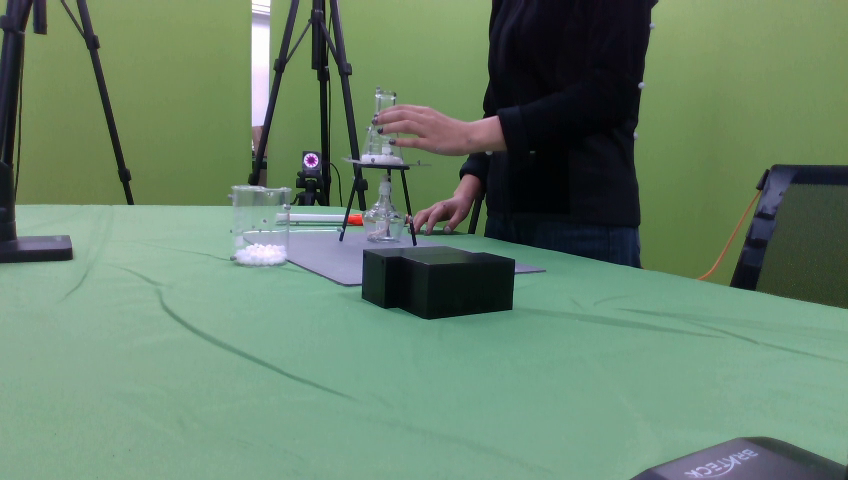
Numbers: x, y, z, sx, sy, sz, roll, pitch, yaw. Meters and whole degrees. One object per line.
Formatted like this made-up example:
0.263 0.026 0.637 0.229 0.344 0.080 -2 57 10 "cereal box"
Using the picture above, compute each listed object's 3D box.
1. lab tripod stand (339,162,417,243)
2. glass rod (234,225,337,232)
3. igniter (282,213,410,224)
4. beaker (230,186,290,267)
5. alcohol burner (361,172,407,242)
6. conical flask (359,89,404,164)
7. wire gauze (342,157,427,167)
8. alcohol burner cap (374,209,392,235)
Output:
-0.067 -0.065 1.027 0.148 0.131 0.148 4 7 0 "lab tripod stand"
-0.256 -0.022 1.136 0.201 0.008 0.008 -3 9 -33 "glass rod"
-0.159 -0.046 1.287 0.278 0.025 0.057 -1 -2 -21 "igniter"
-0.209 -0.019 0.778 0.074 0.100 0.084 3 6 4 "beaker"
-0.067 -0.056 1.030 0.078 0.119 0.078 3 9 0 "alcohol burner"
-0.068 -0.189 1.010 0.075 0.122 0.075 4 6 0 "conical flask"
-0.065 -0.130 1.017 0.122 0.011 0.124 1 5 -27 "wire gauze"
-0.078 -0.036 1.148 0.034 0.048 0.034 3 8 0 "alcohol burner cap"
